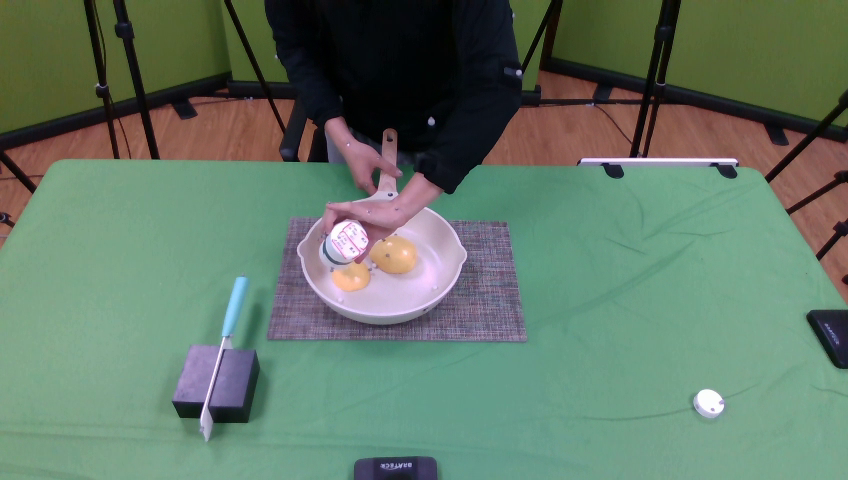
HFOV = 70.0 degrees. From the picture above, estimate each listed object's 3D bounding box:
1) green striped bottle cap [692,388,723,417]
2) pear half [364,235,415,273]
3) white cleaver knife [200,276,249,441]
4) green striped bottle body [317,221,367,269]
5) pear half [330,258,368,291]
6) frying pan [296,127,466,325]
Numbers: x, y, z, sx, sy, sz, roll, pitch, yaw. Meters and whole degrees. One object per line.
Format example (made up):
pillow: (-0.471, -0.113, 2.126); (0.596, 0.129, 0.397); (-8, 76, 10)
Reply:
green striped bottle cap: (0.460, 0.263, 0.984); (0.044, 0.020, 0.044); (3, 47, -3)
pear half: (-0.073, 0.017, 1.146); (0.110, 0.056, 0.076); (8, 41, 7)
white cleaver knife: (-0.321, 0.177, 0.972); (0.021, 0.066, 0.284); (7, 48, -5)
green striped bottle body: (-0.144, 0.013, 1.029); (0.063, 0.119, 0.063); (6, 74, -21)
pear half: (-0.140, 0.054, 1.122); (0.070, 0.031, 0.087); (-8, 53, -15)
frying pan: (-0.076, -0.045, 1.172); (0.307, 0.103, 0.485); (3, 55, -2)
